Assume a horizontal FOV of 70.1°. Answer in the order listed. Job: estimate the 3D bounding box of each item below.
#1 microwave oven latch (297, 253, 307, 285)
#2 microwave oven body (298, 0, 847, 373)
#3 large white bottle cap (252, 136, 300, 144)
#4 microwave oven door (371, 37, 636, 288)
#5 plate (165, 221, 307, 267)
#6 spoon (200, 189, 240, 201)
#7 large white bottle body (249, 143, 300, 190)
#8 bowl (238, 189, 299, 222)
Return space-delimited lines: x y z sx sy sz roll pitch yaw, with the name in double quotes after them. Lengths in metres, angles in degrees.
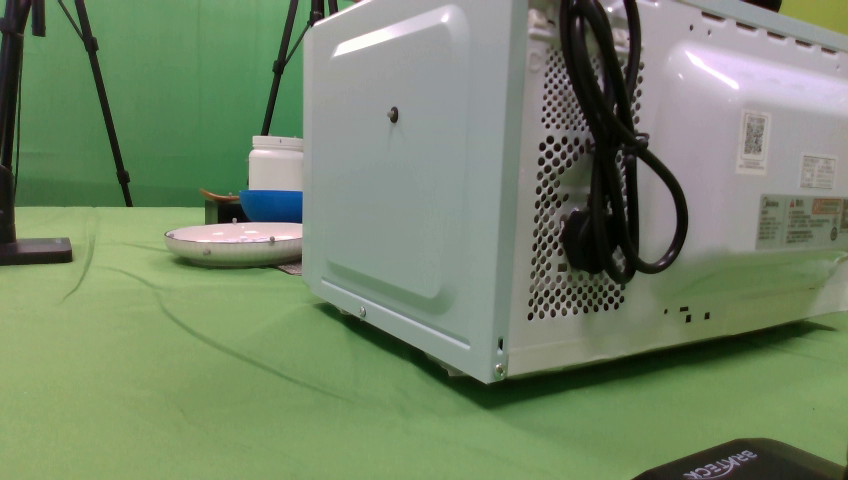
-0.082 0.027 0.582 0.079 0.029 0.030 -1 7 -33 "microwave oven latch"
0.151 -0.055 0.543 0.444 0.260 0.324 -1 7 -33 "microwave oven body"
-0.336 -0.228 1.391 0.115 0.018 0.115 2 7 0 "large white bottle cap"
0.109 -0.080 0.686 0.358 0.243 0.039 -2 9 -33 "microwave oven door"
-0.241 0.004 0.830 0.209 0.038 0.209 0 9 0 "plate"
-0.339 -0.080 1.189 0.194 0.021 0.041 5 2 -19 "spoon"
-0.339 -0.144 1.402 0.131 0.184 0.130 2 7 0 "large white bottle body"
-0.245 -0.046 1.053 0.151 0.077 0.151 3 8 0 "bowl"
